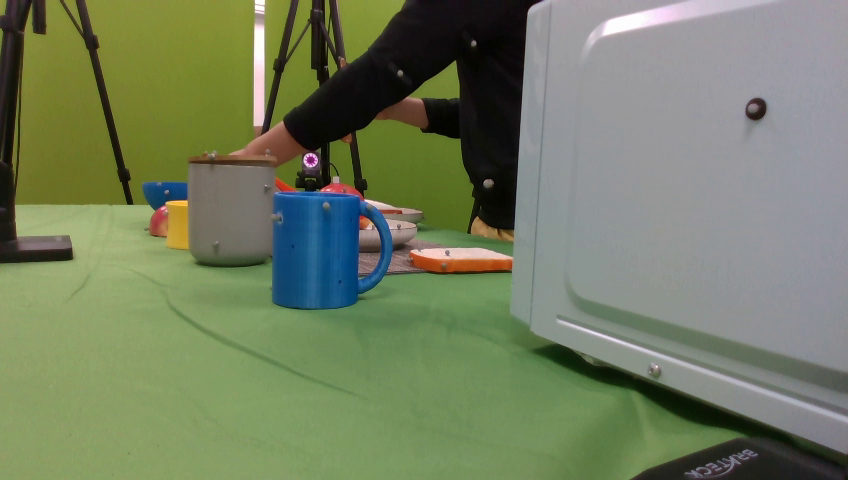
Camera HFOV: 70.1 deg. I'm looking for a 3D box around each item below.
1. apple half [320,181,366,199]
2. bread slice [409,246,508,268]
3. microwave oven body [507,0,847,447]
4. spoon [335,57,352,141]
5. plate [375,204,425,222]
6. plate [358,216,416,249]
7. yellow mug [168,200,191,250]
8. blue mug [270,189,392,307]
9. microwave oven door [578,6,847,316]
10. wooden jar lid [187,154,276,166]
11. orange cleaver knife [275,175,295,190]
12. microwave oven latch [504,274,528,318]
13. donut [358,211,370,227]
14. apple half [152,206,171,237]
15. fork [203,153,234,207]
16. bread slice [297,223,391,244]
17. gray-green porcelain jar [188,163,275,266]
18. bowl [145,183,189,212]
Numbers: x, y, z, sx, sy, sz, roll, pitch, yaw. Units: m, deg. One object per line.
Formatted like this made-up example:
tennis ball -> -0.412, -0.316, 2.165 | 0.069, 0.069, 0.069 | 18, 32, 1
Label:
apple half -> -0.130, -0.077, 0.952 | 0.081, 0.033, 0.081 | 3, 15, 0
bread slice -> 0.048, 0.022, 0.816 | 0.132, 0.019, 0.104 | 0, 6, -24
microwave oven body -> 0.331, -0.042, 0.425 | 0.444, 0.260, 0.324 | -2, 8, -31
spoon -> -0.170, -0.302, 1.290 | 0.042, 0.193, 0.021 | 10, -15, -43
plate -> -0.102, -0.053, 1.299 | 0.209, 0.038, 0.209 | 2, 7, 0
plate -> -0.116, -0.014, 0.967 | 0.208, 0.039, 0.207 | 2, 7, 0
yellow mug -> -0.320, -0.022, 0.904 | 0.130, 0.064, 0.100 | 8, 10, 36
blue mug -> -0.089, 0.005, 0.588 | 0.117, 0.106, 0.082 | 0, 7, -10
microwave oven door -> 0.294, -0.067, 0.570 | 0.358, 0.243, 0.039 | -3, 9, -31
wooden jar lid -> -0.244, -0.097, 0.771 | 0.108, 0.020, 0.108 | -1, 7, 0
orange cleaver knife -> -0.283, -0.086, 1.343 | 0.212, 0.077, 0.012 | 24, -16, -41
microwave oven latch -> 0.100, 0.041, 0.471 | 0.079, 0.029, 0.030 | -2, 8, -29
donut -> -0.132, -0.041, 0.959 | 0.099, 0.048, 0.099 | 3, 8, 0
apple half -> -0.415, -0.034, 1.017 | 0.081, 0.053, 0.074 | 1, 10, -8
fork -> -0.480, -0.134, 1.411 | 0.028, 0.018, 0.207 | 1, -35, 0
bread slice -> -0.121, -0.013, 0.971 | 0.106, 0.018, 0.135 | 10, 12, 41
gray-green porcelain jar -> -0.247, -0.034, 0.780 | 0.106, 0.126, 0.106 | 2, 7, 0
bowl -> -0.459, -0.068, 1.175 | 0.151, 0.077, 0.151 | 3, 7, 0
